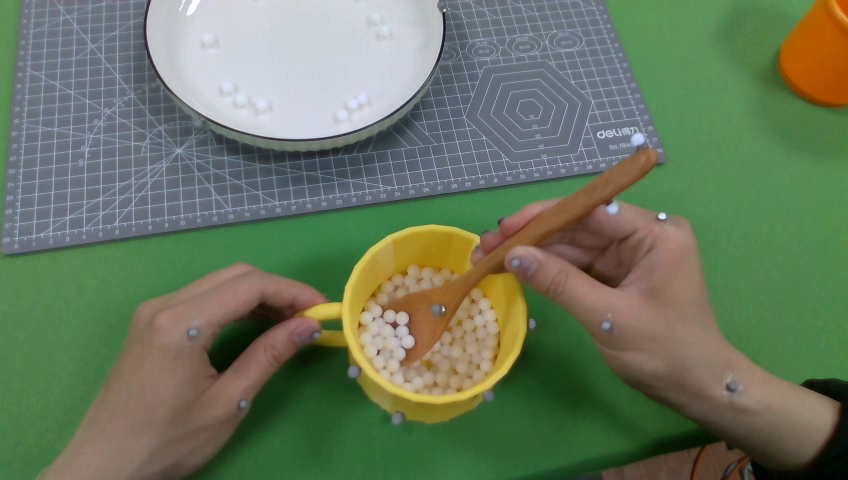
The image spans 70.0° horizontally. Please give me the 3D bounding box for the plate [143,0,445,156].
[{"bbox_3d":[-0.089,-0.145,0.438,0.208,0.039,0.206,2,66,-4],"label":"plate"}]

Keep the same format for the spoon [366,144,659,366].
[{"bbox_3d":[0.036,0.013,0.314,0.022,0.194,0.041,14,47,-43],"label":"spoon"}]

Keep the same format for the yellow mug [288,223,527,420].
[{"bbox_3d":[-0.012,0.049,0.346,0.131,0.064,0.099,-1,66,-5],"label":"yellow mug"}]
